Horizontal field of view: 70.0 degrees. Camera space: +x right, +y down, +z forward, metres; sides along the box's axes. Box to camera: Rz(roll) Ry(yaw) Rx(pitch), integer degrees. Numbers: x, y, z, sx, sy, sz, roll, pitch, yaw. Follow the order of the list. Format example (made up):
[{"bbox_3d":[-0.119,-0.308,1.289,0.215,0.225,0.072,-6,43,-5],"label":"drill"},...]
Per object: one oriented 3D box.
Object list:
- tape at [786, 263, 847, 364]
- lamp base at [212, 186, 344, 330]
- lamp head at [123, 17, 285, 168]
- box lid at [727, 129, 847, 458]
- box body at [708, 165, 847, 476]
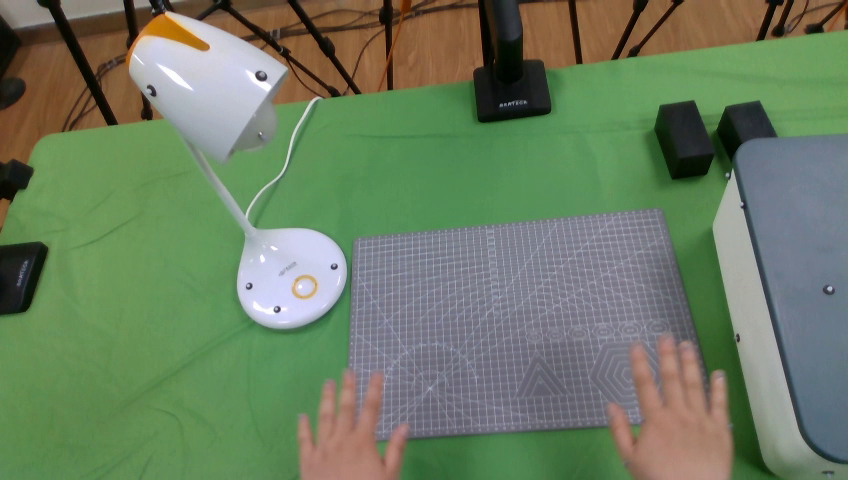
[{"bbox_3d":[0.502,0.086,0.723,0.117,0.053,0.116,-4,59,7],"label":"tape"},{"bbox_3d":[-0.215,0.011,0.816,0.178,0.182,0.160,30,68,27],"label":"lamp base"},{"bbox_3d":[-0.207,-0.142,0.558,0.123,0.112,0.112,31,64,-12],"label":"lamp head"},{"bbox_3d":[0.479,0.030,0.615,0.263,0.015,0.368,-3,60,8],"label":"box lid"},{"bbox_3d":[0.489,0.070,0.677,0.254,0.162,0.361,-3,59,8],"label":"box body"}]
